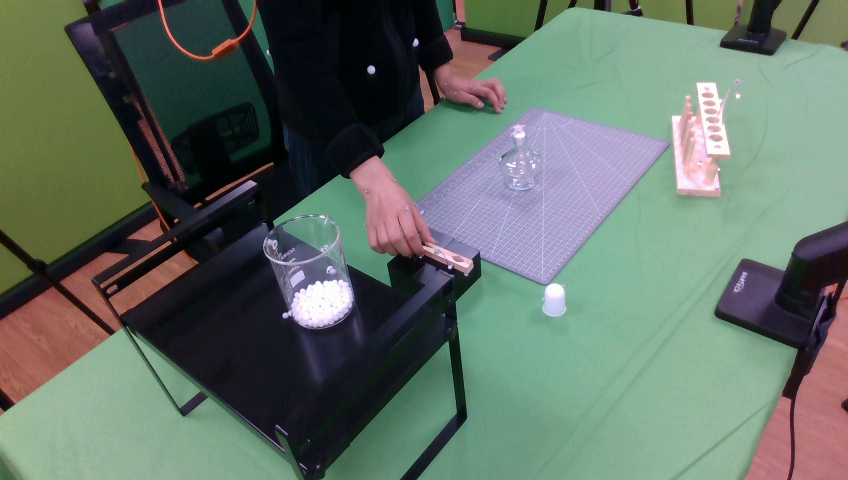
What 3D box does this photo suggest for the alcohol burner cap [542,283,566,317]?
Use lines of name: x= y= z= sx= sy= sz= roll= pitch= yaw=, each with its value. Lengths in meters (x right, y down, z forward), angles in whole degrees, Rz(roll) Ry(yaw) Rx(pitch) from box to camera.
alcohol burner cap: x=0.181 y=0.081 z=0.839 sx=0.034 sy=0.048 sz=0.033 roll=-4 pitch=40 yaw=4

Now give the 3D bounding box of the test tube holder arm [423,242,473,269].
test tube holder arm: x=0.032 y=0.023 z=0.873 sx=0.087 sy=0.015 sz=0.010 roll=21 pitch=39 yaw=29

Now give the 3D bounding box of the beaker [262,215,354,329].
beaker: x=-0.112 y=0.034 z=0.616 sx=0.073 sy=0.101 sz=0.084 roll=13 pitch=44 yaw=23

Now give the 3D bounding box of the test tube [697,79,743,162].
test tube: x=0.486 y=-0.194 z=0.998 sx=0.017 sy=0.150 sz=0.017 roll=5 pitch=40 yaw=-4

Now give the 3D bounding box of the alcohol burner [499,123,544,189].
alcohol burner: x=0.168 y=-0.149 z=1.048 sx=0.078 sy=0.119 sz=0.077 roll=-5 pitch=41 yaw=5

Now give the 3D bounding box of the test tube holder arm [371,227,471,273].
test tube holder arm: x=-0.008 y=0.012 z=0.891 sx=0.177 sy=0.015 sz=0.013 roll=19 pitch=39 yaw=28

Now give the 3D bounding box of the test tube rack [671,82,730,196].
test tube rack: x=0.482 y=-0.184 z=1.067 sx=0.066 sy=0.085 sz=0.242 roll=5 pitch=42 yaw=15
